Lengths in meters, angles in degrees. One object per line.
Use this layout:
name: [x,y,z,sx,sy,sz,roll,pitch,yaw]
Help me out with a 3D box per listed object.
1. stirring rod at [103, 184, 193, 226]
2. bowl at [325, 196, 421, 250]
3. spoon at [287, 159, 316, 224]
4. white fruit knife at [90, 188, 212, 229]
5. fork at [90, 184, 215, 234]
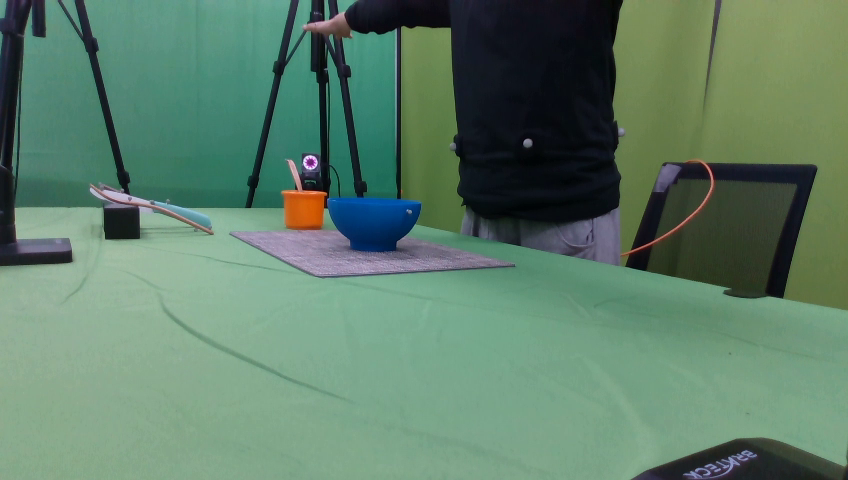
stirring rod: [-0.507,-0.063,1.129,0.177,0.006,0.014,27,1,-31]
bowl: [-0.080,-0.027,0.957,0.151,0.077,0.151,2,7,0]
spoon: [-0.261,-0.104,1.263,0.042,0.193,0.021,-1,-36,-27]
white fruit knife: [-0.478,-0.058,1.073,0.208,0.027,0.016,17,-4,-30]
fork: [-0.452,-0.049,1.018,0.208,0.018,0.028,21,-8,-33]
